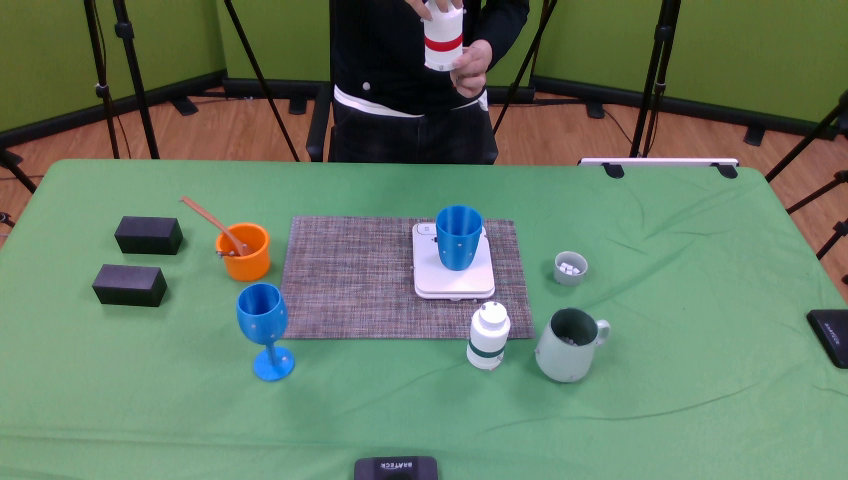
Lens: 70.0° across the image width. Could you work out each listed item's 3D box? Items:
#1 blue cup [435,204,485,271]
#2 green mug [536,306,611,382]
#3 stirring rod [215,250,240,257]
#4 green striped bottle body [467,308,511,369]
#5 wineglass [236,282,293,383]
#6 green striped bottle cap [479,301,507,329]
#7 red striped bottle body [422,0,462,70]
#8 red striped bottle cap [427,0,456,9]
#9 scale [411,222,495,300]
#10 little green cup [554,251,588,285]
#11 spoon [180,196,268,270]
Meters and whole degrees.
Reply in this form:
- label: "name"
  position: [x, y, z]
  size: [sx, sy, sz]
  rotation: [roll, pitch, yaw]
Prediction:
- label: "blue cup"
  position: [0.061, 0.001, 1.097]
  size: [0.092, 0.101, 0.092]
  rotation: [0, 44, 0]
- label: "green mug"
  position: [0.250, 0.167, 0.996]
  size: [0.125, 0.105, 0.092]
  rotation: [-15, 49, -19]
- label: "stirring rod"
  position: [-0.339, 0.024, 1.059]
  size: [0.014, 0.176, 0.006]
  rotation: [16, 86, -6]
- label: "green striped bottle body"
  position: [0.106, 0.154, 0.988]
  size: [0.063, 0.120, 0.063]
  rotation: [2, 46, -2]
- label: "wineglass"
  position: [-0.243, 0.143, 0.934]
  size: [0.074, 0.173, 0.073]
  rotation: [2, 46, -2]
- label: "green striped bottle cap"
  position: [0.109, 0.117, 0.950]
  size: [0.044, 0.020, 0.044]
  rotation: [2, 47, -2]
- label: "red striped bottle body"
  position: [0.029, -0.338, 0.969]
  size: [0.063, 0.120, 0.062]
  rotation: [-2, 52, 2]
- label: "red striped bottle cap"
  position: [0.027, -0.373, 0.924]
  size: [0.044, 0.018, 0.044]
  rotation: [-1, 52, 2]
- label: "scale"
  position: [0.052, 0.031, 1.158]
  size: [0.149, 0.032, 0.199]
  rotation: [1, 46, -4]
- label: "little green cup"
  position: [0.276, 0.055, 1.151]
  size: [0.061, 0.039, 0.061]
  rotation: [1, 46, -1]
- label: "spoon"
  position: [-0.360, -0.014, 1.094]
  size: [0.021, 0.194, 0.041]
  rotation: [-27, 26, 31]
